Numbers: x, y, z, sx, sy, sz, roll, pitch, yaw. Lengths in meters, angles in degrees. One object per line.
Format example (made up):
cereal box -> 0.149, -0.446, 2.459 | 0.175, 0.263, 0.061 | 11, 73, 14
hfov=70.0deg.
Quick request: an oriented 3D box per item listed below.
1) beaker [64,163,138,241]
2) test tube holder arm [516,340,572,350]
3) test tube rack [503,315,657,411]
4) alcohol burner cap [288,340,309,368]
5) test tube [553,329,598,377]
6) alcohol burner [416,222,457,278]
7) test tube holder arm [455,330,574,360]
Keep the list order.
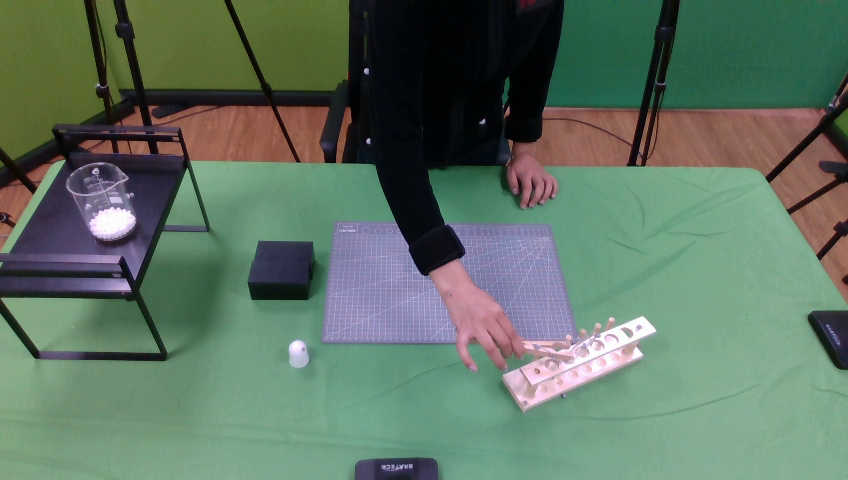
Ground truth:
beaker -> -0.477, -0.055, 0.910 | 0.084, 0.101, 0.073 | -9, 48, -13
test tube holder arm -> 0.180, 0.158, 0.915 | 0.088, 0.015, 0.010 | 1, 48, -11
test tube rack -> 0.253, 0.186, 0.989 | 0.242, 0.085, 0.066 | -18, 50, -20
alcohol burner cap -> -0.207, 0.183, 0.991 | 0.034, 0.048, 0.033 | 2, 47, -2
test tube -> 0.228, 0.176, 0.925 | 0.017, 0.151, 0.017 | 6, 54, -9
alcohol burner -> 0.024, 0.014, 1.116 | 0.078, 0.120, 0.077 | 1, 45, -1
test tube holder arm -> 0.136, 0.157, 0.906 | 0.178, 0.015, 0.013 | 10, 46, -3
